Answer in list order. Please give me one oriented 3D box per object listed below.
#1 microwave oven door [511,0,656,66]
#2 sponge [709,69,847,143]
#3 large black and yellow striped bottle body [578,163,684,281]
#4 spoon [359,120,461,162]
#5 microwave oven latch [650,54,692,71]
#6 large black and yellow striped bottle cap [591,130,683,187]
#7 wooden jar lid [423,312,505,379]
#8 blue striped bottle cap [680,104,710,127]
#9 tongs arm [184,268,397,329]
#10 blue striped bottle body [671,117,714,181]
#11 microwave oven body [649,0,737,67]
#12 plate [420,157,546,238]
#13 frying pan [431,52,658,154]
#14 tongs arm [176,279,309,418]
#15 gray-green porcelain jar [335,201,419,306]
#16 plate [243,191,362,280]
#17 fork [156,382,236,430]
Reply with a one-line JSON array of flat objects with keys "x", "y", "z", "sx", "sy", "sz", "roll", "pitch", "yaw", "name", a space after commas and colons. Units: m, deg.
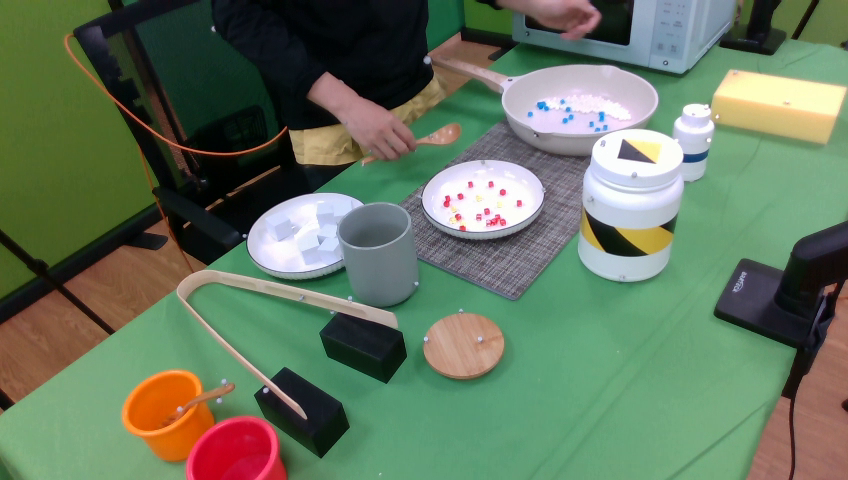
[{"x": 0.351, "y": -0.539, "z": 1.349, "sx": 0.353, "sy": 0.245, "sz": 0.039, "roll": 24, "pitch": 50, "yaw": 31, "name": "microwave oven door"}, {"x": 0.663, "y": -0.256, "z": 1.141, "sx": 0.205, "sy": 0.061, "sz": 0.118, "roll": 18, "pitch": 47, "yaw": 28, "name": "sponge"}, {"x": 0.291, "y": -0.046, "z": 0.859, "sx": 0.131, "sy": 0.185, "sz": 0.130, "roll": -4, "pitch": 41, "yaw": 4, "name": "large black and yellow striped bottle body"}, {"x": -0.025, "y": -0.177, "z": 1.093, "sx": 0.194, "sy": 0.022, "sz": 0.041, "roll": -16, "pitch": 63, "yaw": -2, "name": "spoon"}, {"x": 0.531, "y": -0.386, "z": 1.301, "sx": 0.078, "sy": 0.029, "sz": 0.030, "roll": 25, "pitch": 51, "yaw": 32, "name": "microwave oven latch"}, {"x": 0.282, "y": -0.111, "z": 0.803, "sx": 0.115, "sy": 0.019, "sz": 0.114, "roll": -3, "pitch": 41, "yaw": 3, "name": "large black and yellow striped bottle cap"}, {"x": 0.053, "y": 0.142, "z": 0.800, "sx": 0.108, "sy": 0.021, "sz": 0.108, "roll": -5, "pitch": 39, "yaw": 4, "name": "wooden jar lid"}, {"x": 0.443, "y": -0.205, "z": 0.989, "sx": 0.044, "sy": 0.021, "sz": 0.044, "roll": -1, "pitch": 41, "yaw": 2, "name": "blue striped bottle cap"}, {"x": -0.202, "y": 0.084, "z": 0.848, "sx": 0.382, "sy": 0.027, "sz": 0.051, "roll": 11, "pitch": 45, "yaw": 35, "name": "tongs arm"}, {"x": 0.449, "y": -0.165, "z": 1.022, "sx": 0.063, "sy": 0.121, "sz": 0.063, "roll": -5, "pitch": 41, "yaw": 4, "name": "blue striped bottle body"}, {"x": 0.475, "y": -0.602, "z": 1.411, "sx": 0.438, "sy": 0.261, "sz": 0.327, "roll": 23, "pitch": 50, "yaw": 32, "name": "microwave oven body"}, {"x": 0.099, "y": -0.067, "z": 1.017, "sx": 0.209, "sy": 0.038, "sz": 0.208, "roll": -4, "pitch": 40, "yaw": 4, "name": "plate"}, {"x": 0.216, "y": -0.302, "z": 1.223, "sx": 0.484, "sy": 0.103, "sz": 0.308, "roll": 29, "pitch": 50, "yaw": 24, "name": "frying pan"}, {"x": -0.254, "y": 0.132, "z": 0.801, "sx": 0.028, "sy": 0.028, "sz": 0.384, "roll": -41, "pitch": 40, "yaw": -23, "name": "tongs arm"}, {"x": -0.064, "y": 0.024, "z": 0.872, "sx": 0.106, "sy": 0.127, "sz": 0.105, "roll": -4, "pitch": 41, "yaw": 4, "name": "gray-green porcelain jar"}, {"x": -0.187, "y": -0.005, "z": 0.992, "sx": 0.207, "sy": 0.039, "sz": 0.206, "roll": -4, "pitch": 41, "yaw": 4, "name": "plate"}, {"x": -0.262, "y": 0.189, "z": 0.690, "sx": 0.018, "sy": 0.206, "sz": 0.028, "roll": 49, "pitch": 43, "yaw": -7, "name": "fork"}]
